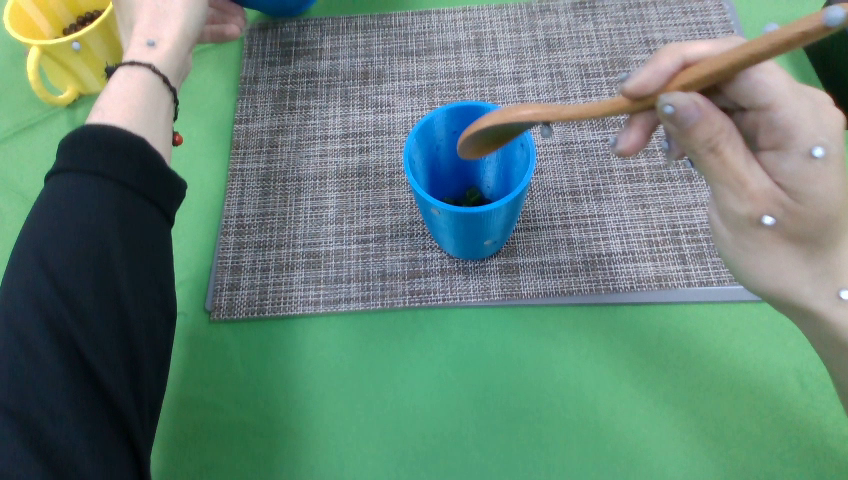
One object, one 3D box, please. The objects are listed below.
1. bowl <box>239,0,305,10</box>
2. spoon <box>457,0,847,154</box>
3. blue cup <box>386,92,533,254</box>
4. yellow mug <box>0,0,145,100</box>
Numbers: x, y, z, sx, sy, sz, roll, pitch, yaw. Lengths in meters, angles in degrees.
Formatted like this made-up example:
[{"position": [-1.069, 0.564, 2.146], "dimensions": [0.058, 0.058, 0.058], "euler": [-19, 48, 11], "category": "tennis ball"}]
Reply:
[{"position": [-0.138, -0.260, 0.532], "dimensions": [0.151, 0.077, 0.150], "euler": [-1, 68, 3], "category": "bowl"}, {"position": [0.082, -0.064, 0.270], "dimensions": [0.042, 0.192, 0.021], "euler": [-9, 93, -37], "category": "spoon"}, {"position": [0.030, -0.037, 0.425], "dimensions": [0.092, 0.101, 0.092], "euler": [-2, 64, 5], "category": "blue cup"}, {"position": [-0.319, -0.184, 0.540], "dimensions": [0.100, 0.064, 0.130], "euler": [8, 65, 7], "category": "yellow mug"}]
